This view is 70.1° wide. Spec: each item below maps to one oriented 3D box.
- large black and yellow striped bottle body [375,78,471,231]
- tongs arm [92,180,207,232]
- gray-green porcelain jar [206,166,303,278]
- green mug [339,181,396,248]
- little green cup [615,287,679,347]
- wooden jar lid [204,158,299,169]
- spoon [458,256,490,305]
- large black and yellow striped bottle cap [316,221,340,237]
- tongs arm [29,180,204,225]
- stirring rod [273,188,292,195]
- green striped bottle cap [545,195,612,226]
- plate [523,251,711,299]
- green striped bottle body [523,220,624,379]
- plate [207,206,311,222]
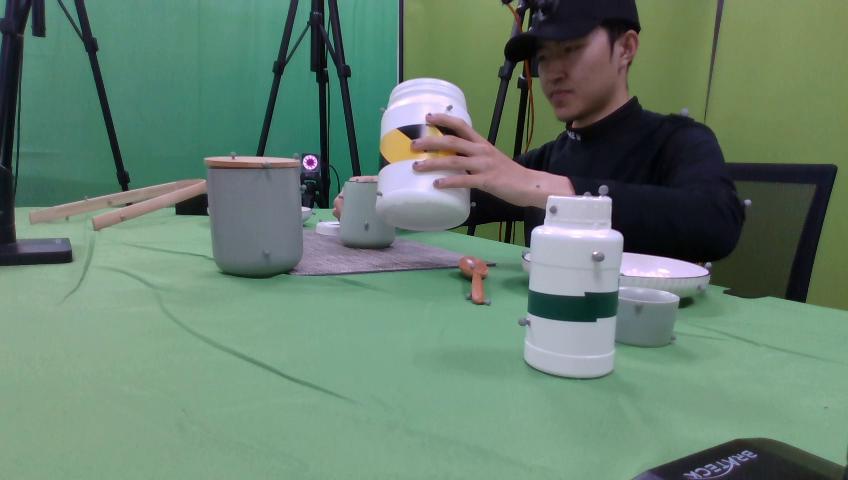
[{"bbox_3d":[0.001,-0.117,0.838,0.131,0.183,0.131,2,-18,1],"label":"large black and yellow striped bottle body"},{"bbox_3d":[-0.534,-0.076,1.221,0.028,0.028,0.388,-2,15,12],"label":"tongs arm"},{"bbox_3d":[-0.201,-0.024,0.725,0.106,0.126,0.106,-1,9,1],"label":"gray-green porcelain jar"},{"bbox_3d":[-0.097,-0.044,0.995,0.093,0.105,0.125,-1,8,-21],"label":"green mug"},{"bbox_3d":[0.180,0.064,0.506,0.061,0.038,0.061,2,8,0],"label":"little green cup"},{"bbox_3d":[-0.202,-0.086,0.714,0.108,0.020,0.108,3,11,0],"label":"wooden jar lid"},{"bbox_3d":[0.059,0.044,0.695,0.041,0.021,0.194,17,7,1],"label":"spoon"},{"bbox_3d":[-0.147,-0.021,1.147,0.115,0.019,0.115,2,8,0],"label":"large black and yellow striped bottle cap"},{"bbox_3d":[-0.609,-0.083,1.245,0.050,0.026,0.386,5,16,23],"label":"tongs arm"},{"bbox_3d":[-0.354,-0.122,1.519,0.006,0.014,0.176,2,7,1],"label":"stirring rod"},{"bbox_3d":[0.106,-0.020,0.414,0.044,0.020,0.044,2,4,0],"label":"green striped bottle cap"},{"bbox_3d":[0.219,0.041,0.706,0.209,0.038,0.209,2,7,0],"label":"plate"},{"bbox_3d":[0.104,0.031,0.422,0.063,0.119,0.063,2,7,0],"label":"green striped bottle body"},{"bbox_3d":[-0.342,-0.050,1.259,0.208,0.039,0.207,2,7,0],"label":"plate"}]
